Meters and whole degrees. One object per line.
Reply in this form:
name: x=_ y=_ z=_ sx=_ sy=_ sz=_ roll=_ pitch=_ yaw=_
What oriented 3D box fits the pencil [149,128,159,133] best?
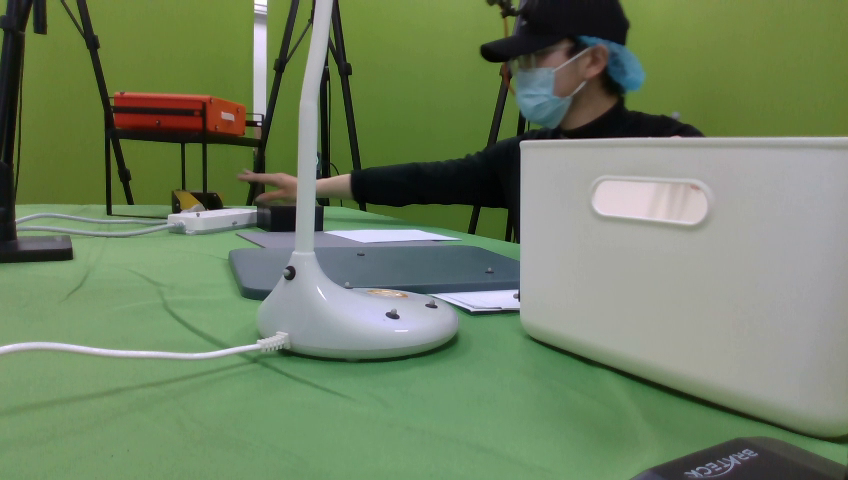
pencil: x=-0.528 y=-0.258 z=1.361 sx=0.012 sy=0.012 sz=0.195 roll=8 pitch=20 yaw=35

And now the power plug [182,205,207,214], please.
power plug: x=-0.455 y=-0.041 z=1.196 sx=0.052 sy=0.035 sz=0.072 roll=1 pitch=42 yaw=23

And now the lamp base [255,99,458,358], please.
lamp base: x=-0.056 y=-0.013 z=0.462 sx=0.160 sy=0.180 sz=0.180 roll=6 pitch=11 yaw=27

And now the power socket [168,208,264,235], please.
power socket: x=-0.381 y=-0.038 z=1.129 sx=0.072 sy=0.032 sz=0.227 roll=4 pitch=8 yaw=17

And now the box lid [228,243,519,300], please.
box lid: x=-0.044 y=0.033 z=0.757 sx=0.373 sy=0.015 sz=0.262 roll=-1 pitch=9 yaw=-22

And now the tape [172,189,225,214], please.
tape: x=-0.515 y=-0.087 z=1.388 sx=0.117 sy=0.052 sz=0.117 roll=3 pitch=8 yaw=0

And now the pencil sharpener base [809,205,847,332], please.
pencil sharpener base: x=0.386 y=0.026 z=0.518 sx=0.062 sy=0.107 sz=0.076 roll=-4 pitch=11 yaw=-43

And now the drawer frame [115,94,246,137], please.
drawer frame: x=-0.543 y=-0.281 z=1.374 sx=0.213 sy=0.082 sz=0.201 roll=2 pitch=8 yaw=4

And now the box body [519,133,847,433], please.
box body: x=0.279 y=0.005 z=0.485 sx=0.366 sy=0.160 sz=0.253 roll=-3 pitch=9 yaw=-36

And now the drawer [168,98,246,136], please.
drawer: x=-0.539 y=-0.279 z=1.374 sx=0.212 sy=0.073 sz=0.194 roll=2 pitch=8 yaw=5

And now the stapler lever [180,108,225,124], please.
stapler lever: x=-0.496 y=-0.281 z=1.359 sx=0.027 sy=0.040 sz=0.118 roll=2 pitch=7 yaw=22

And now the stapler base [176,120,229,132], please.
stapler base: x=-0.496 y=-0.257 z=1.364 sx=0.041 sy=0.024 sz=0.131 roll=2 pitch=9 yaw=22
